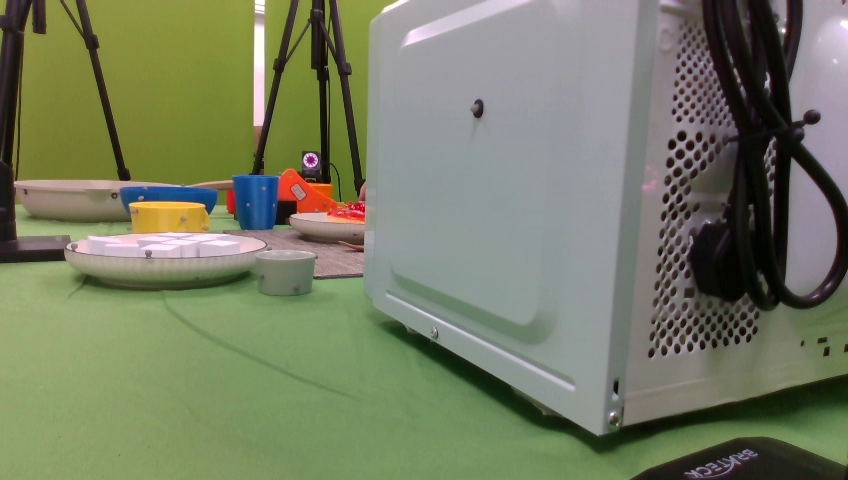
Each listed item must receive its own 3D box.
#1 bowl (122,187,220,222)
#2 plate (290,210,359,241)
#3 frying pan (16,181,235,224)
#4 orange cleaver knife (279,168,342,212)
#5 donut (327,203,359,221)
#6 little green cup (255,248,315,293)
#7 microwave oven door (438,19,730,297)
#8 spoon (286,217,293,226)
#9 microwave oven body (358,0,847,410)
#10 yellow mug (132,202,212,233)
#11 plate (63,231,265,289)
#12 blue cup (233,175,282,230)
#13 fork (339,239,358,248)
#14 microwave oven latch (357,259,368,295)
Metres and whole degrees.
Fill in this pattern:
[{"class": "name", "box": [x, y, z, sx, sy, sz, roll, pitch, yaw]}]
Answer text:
[{"class": "bowl", "box": [-0.421, -0.046, 1.012, 0.151, 0.077, 0.151, 2, 7, 0]}, {"class": "plate", "box": [-0.127, -0.026, 1.051, 0.209, 0.038, 0.209, 2, 7, 0]}, {"class": "frying pan", "box": [-0.554, -0.097, 1.266, 0.490, 0.102, 0.305, -10, 13, -24]}, {"class": "orange cleaver knife", "box": [-0.236, -0.084, 1.333, 0.212, 0.077, 0.012, 31, -9, -31]}, {"class": "donut", "box": [-0.120, -0.038, 1.055, 0.099, 0.048, 0.099, 5, 7, 0]}, {"class": "little green cup", "box": [-0.144, 0.031, 0.627, 0.061, 0.038, 0.061, 2, 6, 0]}, {"class": "microwave oven door", "box": [0.181, -0.076, 0.618, 0.358, 0.243, 0.039, -2, 8, -28]}, {"class": "spoon", "box": [-0.180, -0.037, 1.209, 0.195, 0.021, 0.041, -3, -14, -31]}, {"class": "microwave oven body", "box": [0.210, -0.051, 0.471, 0.444, 0.260, 0.324, -1, 7, -28]}, {"class": "yellow mug", "box": [-0.356, -0.020, 0.878, 0.099, 0.064, 0.131, 5, 7, 21]}, {"class": "plate", "box": [-0.288, 0.021, 0.687, 0.208, 0.039, 0.207, 2, 8, 0]}, {"class": "blue cup", "box": [-0.314, -0.071, 1.141, 0.093, 0.100, 0.092, 0, 7, 0]}, {"class": "fork", "box": [-0.027, 0.003, 0.925, 0.208, 0.018, 0.028, -2, -3, -18]}, {"class": "microwave oven latch", "box": [-0.019, 0.031, 0.529, 0.079, 0.029, 0.030, -1, 7, -27]}]
